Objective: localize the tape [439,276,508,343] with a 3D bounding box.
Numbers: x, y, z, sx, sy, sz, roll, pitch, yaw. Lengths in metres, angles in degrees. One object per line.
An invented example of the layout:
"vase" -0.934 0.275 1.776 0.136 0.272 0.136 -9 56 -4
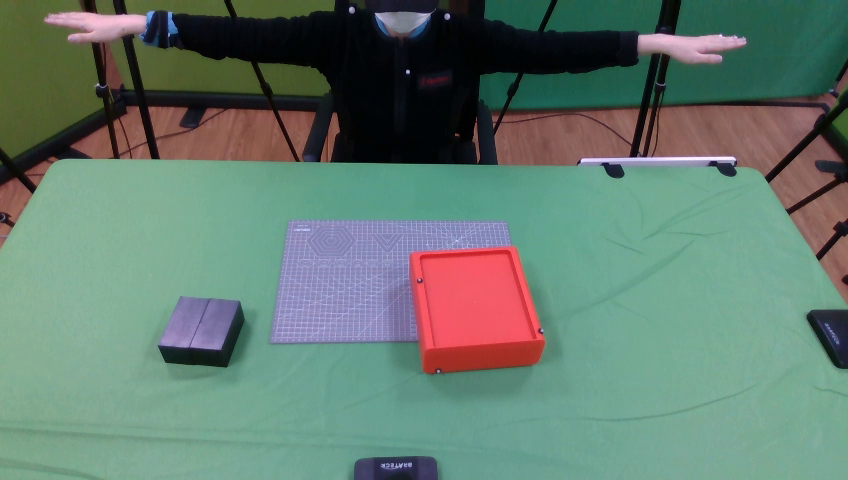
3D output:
"tape" 0.084 0.119 1.052 0.117 0.053 0.116 2 45 -2

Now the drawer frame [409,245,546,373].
"drawer frame" 0.084 0.113 1.049 0.202 0.083 0.212 -4 47 -8

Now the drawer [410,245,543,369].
"drawer" 0.083 0.111 1.051 0.195 0.073 0.210 -3 47 -8
